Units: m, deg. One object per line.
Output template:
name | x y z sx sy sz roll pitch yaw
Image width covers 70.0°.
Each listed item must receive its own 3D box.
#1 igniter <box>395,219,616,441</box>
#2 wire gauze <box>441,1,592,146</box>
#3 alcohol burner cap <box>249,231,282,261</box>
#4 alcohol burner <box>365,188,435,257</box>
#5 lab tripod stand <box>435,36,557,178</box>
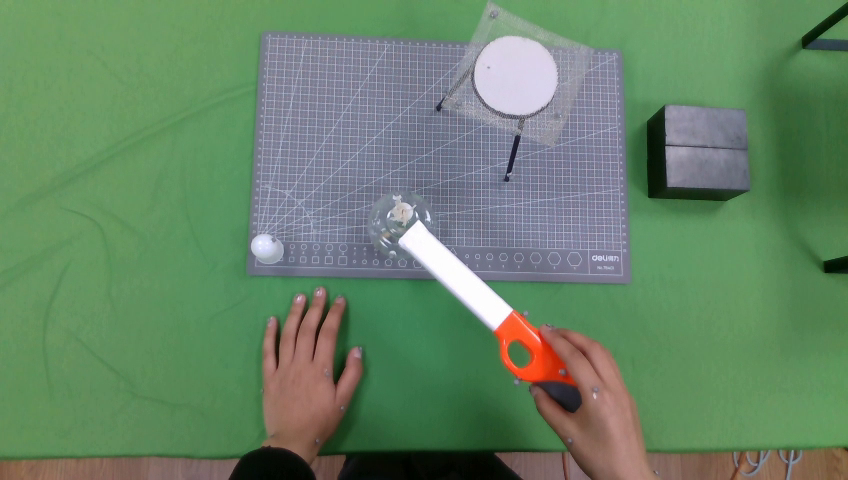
igniter | 0.080 0.085 0.584 0.276 0.025 0.057 44 78 3
wire gauze | 0.096 -0.168 0.612 0.121 0.011 0.124 24 78 -1
alcohol burner cap | -0.179 0.005 0.675 0.034 0.048 0.033 1 80 -5
alcohol burner | -0.025 -0.022 0.656 0.078 0.119 0.077 1 81 -5
lab tripod stand | 0.089 -0.159 0.678 0.148 0.132 0.147 1 78 -4
